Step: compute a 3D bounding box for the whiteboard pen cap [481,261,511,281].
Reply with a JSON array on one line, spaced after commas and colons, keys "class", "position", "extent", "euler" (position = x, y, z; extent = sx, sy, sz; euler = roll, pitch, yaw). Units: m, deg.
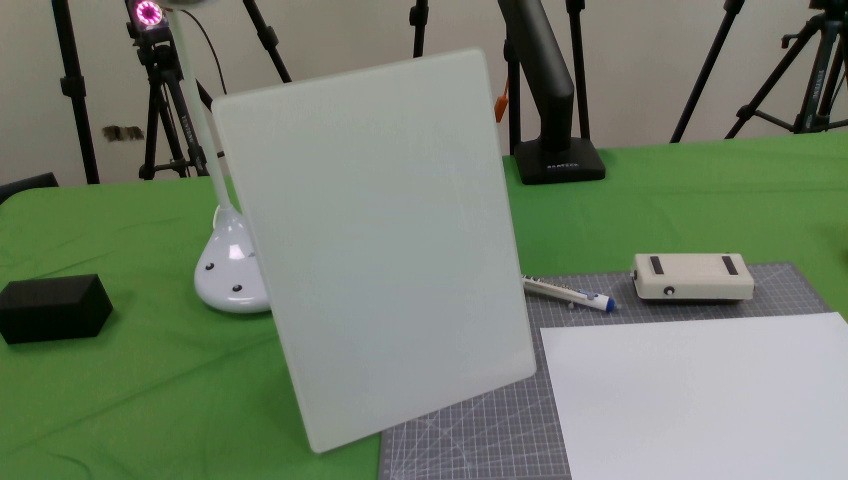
[{"class": "whiteboard pen cap", "position": [0.082, 0.035, 0.679], "extent": [0.033, 0.018, 0.018], "euler": [14, 39, 19]}]

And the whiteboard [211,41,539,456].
[{"class": "whiteboard", "position": [-0.041, -0.002, 0.562], "extent": [0.217, 0.307, 0.143], "euler": [-16, 17, -14]}]

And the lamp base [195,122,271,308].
[{"class": "lamp base", "position": [-0.210, -0.038, 0.697], "extent": [0.177, 0.182, 0.160], "euler": [22, 43, 37]}]

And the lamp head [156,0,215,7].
[{"class": "lamp head", "position": [-0.212, -0.270, 0.497], "extent": [0.112, 0.113, 0.122], "euler": [-27, 65, -28]}]

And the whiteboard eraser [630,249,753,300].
[{"class": "whiteboard eraser", "position": [0.279, 0.037, 0.638], "extent": [0.112, 0.042, 0.055], "euler": [-1, 33, 7]}]

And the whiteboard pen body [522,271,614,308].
[{"class": "whiteboard pen body", "position": [0.135, 0.049, 0.658], "extent": [0.140, 0.017, 0.017], "euler": [14, 39, 21]}]
